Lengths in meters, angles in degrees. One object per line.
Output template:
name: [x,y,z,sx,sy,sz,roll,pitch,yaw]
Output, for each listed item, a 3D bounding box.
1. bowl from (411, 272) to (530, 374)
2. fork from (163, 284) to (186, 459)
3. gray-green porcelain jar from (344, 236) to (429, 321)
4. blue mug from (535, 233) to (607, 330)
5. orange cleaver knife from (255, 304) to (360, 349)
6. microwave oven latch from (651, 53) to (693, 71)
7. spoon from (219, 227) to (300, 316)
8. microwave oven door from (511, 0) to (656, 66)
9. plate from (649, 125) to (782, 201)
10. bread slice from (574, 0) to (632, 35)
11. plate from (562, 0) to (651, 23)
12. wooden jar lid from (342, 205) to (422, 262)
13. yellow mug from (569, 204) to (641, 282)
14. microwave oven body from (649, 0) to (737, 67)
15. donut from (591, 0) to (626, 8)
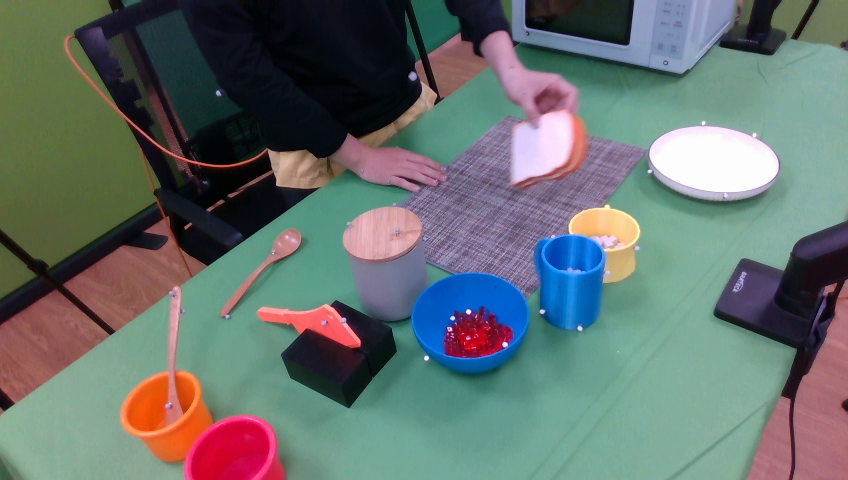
bowl: [0.061,0.120,0.780,0.151,0.077,0.150,-4,40,4]
fork: [-0.302,0.157,0.733,0.028,0.019,0.207,-4,84,16]
gray-green porcelain jar: [-0.049,0.042,0.849,0.106,0.127,0.105,-4,41,4]
blue mug: [0.191,0.048,0.824,0.082,0.106,0.115,-26,44,-20]
orange cleaver knife: [-0.161,0.115,0.813,0.210,0.077,0.012,-4,32,47]
microwave oven latch: [0.532,-0.387,1.301,0.078,0.029,0.030,27,52,34]
spoon: [-0.261,0.046,0.954,0.041,0.021,0.194,27,48,10]
microwave oven door: [0.351,-0.539,1.349,0.353,0.245,0.039,24,50,31]
plate: [0.493,-0.127,1.036,0.207,0.039,0.206,-4,41,4]
bread slice: [0.430,-0.561,1.477,0.105,0.019,0.131,-28,68,-21]
plate: [0.439,-0.572,1.456,0.209,0.038,0.208,-6,44,6]
wooden jar lid: [-0.055,-0.006,0.808,0.108,0.021,0.108,-6,40,6]
yellow mug: [0.268,-0.005,0.904,0.099,0.064,0.130,7,42,15]
microwave oven body: [0.475,-0.602,1.411,0.438,0.261,0.327,23,50,32]
donut: [0.437,-0.588,1.433,0.099,0.048,0.098,-2,53,4]
